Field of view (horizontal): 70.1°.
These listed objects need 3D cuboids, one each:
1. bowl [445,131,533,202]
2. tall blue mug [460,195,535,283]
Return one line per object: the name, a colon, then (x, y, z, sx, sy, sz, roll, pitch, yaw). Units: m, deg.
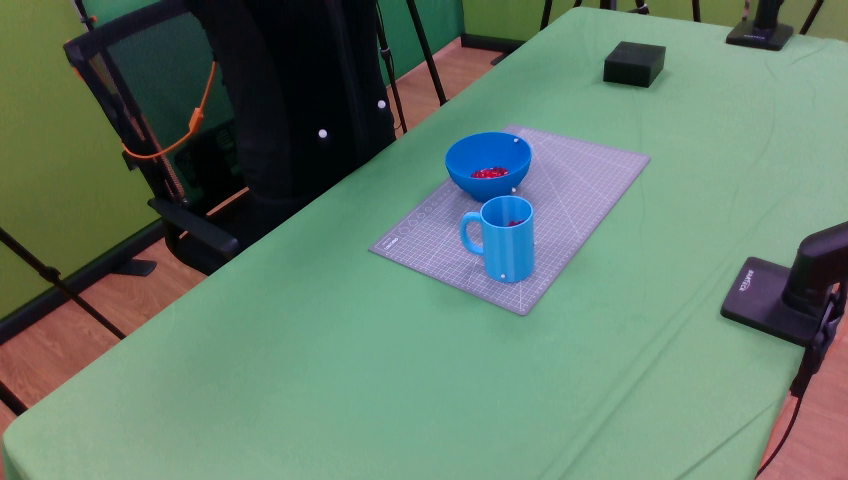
bowl: (0.115, -0.119, 1.056, 0.151, 0.077, 0.150, -6, 40, 5)
tall blue mug: (0.109, 0.001, 0.891, 0.107, 0.108, 0.077, -8, 41, 1)
